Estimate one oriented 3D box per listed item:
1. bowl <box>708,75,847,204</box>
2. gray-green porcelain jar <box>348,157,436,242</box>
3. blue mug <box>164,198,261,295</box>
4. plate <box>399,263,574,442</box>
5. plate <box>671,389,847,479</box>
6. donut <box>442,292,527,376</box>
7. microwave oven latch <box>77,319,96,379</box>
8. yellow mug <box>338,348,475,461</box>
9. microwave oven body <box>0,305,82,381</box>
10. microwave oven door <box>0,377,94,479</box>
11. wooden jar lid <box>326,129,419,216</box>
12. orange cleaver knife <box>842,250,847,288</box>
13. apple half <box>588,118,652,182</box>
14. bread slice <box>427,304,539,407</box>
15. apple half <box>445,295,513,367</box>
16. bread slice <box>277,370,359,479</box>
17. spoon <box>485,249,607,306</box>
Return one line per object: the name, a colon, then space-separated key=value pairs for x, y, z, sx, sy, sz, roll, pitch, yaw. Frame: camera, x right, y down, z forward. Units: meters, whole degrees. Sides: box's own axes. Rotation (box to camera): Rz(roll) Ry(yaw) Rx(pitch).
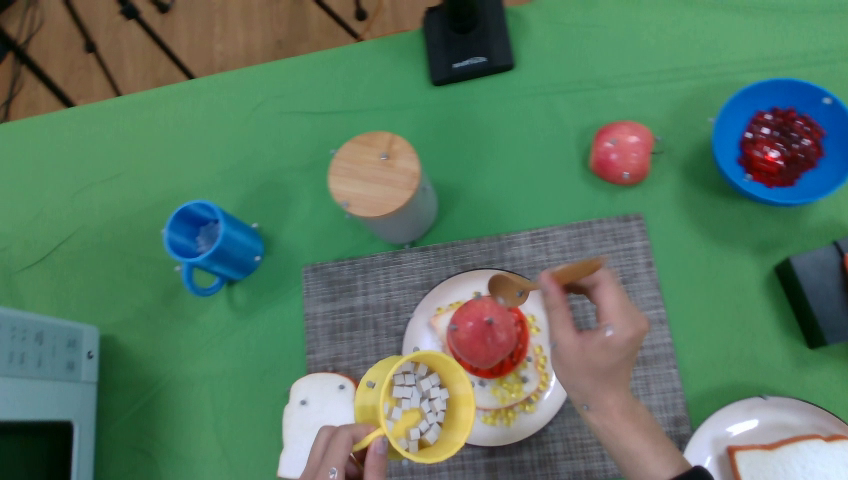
bowl: x=0.403 y=-0.104 z=0.701 sx=0.151 sy=0.077 sz=0.150 roll=-3 pitch=75 yaw=12
gray-green porcelain jar: x=-0.044 y=-0.059 z=0.758 sx=0.105 sy=0.127 sz=0.105 roll=-3 pitch=74 yaw=11
blue mug: x=-0.281 y=0.016 z=0.798 sx=0.082 sy=0.106 sz=0.116 roll=11 pitch=78 yaw=15
plate: x=0.073 y=0.133 z=0.725 sx=0.207 sy=0.039 sz=0.206 roll=-3 pitch=75 yaw=11
plate: x=0.365 y=0.262 z=0.631 sx=0.209 sy=0.038 sz=0.208 roll=-3 pitch=74 yaw=11
donut: x=0.070 y=0.109 z=0.702 sx=0.099 sy=0.048 sz=0.098 roll=-3 pitch=75 yaw=12
microwave oven latch: x=-0.465 y=0.148 z=0.817 sx=0.030 sy=0.030 sz=0.078 roll=-5 pitch=75 yaw=10
yellow mug: x=-0.022 y=0.162 z=0.570 sx=0.131 sy=0.064 sz=0.100 roll=-25 pitch=89 yaw=-31
microwave oven body: x=-0.610 y=0.313 z=0.701 sx=0.325 sy=0.262 sz=0.439 roll=-9 pitch=74 yaw=9
microwave oven door: x=-0.466 y=0.330 z=0.661 sx=0.039 sy=0.245 sz=0.353 roll=-9 pitch=73 yaw=9
wooden jar lid: x=-0.058 y=-0.076 z=0.698 sx=0.108 sy=0.021 sz=0.107 roll=-3 pitch=72 yaw=9
orange cleaver knife: x=0.479 y=0.111 z=0.625 sx=0.012 sy=0.077 sz=0.211 roll=-19 pitch=94 yaw=-1
apple half: x=0.244 y=-0.117 z=0.752 sx=0.074 sy=0.054 sz=0.080 roll=13 pitch=79 yaw=18
bread slice: x=0.078 y=0.130 z=0.726 sx=0.107 sy=0.018 sz=0.133 roll=-26 pitch=71 yaw=4
apple half: x=0.060 y=0.099 z=0.668 sx=0.081 sy=0.033 sz=0.081 roll=-5 pitch=72 yaw=17
bread slice: x=-0.131 y=0.228 z=0.753 sx=0.105 sy=0.019 sz=0.131 roll=-2 pitch=77 yaw=10
spoon: x=0.100 y=0.035 z=0.526 sx=0.021 sy=0.193 sz=0.041 roll=-42 pitch=93 yaw=-19
